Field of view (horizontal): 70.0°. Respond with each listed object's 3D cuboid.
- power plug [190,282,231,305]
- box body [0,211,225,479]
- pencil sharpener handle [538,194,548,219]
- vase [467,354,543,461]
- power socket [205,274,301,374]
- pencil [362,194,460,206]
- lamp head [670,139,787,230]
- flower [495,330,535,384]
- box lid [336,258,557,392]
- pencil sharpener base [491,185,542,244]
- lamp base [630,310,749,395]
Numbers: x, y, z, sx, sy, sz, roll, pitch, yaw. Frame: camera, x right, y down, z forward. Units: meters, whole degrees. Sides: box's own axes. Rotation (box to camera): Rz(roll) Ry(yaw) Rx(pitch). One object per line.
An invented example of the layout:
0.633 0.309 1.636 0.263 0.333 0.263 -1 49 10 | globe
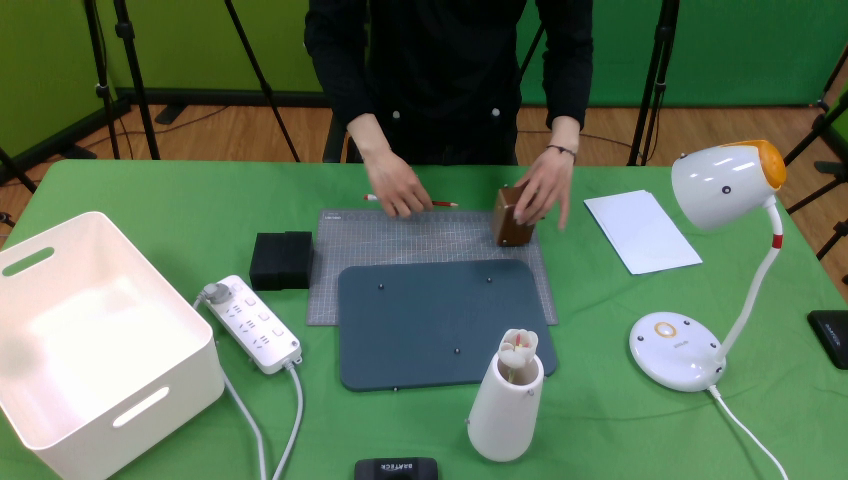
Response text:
-0.368 0.097 1.039 0.072 0.053 0.035 -27 55 -20 | power plug
-0.504 0.154 0.916 0.362 0.161 0.254 36 54 27 | box body
0.231 -0.062 1.181 0.031 0.068 0.036 -3 59 -11 | pencil sharpener handle
0.116 0.234 0.861 0.098 0.201 0.097 1 47 -1 | vase
-0.296 0.140 1.035 0.072 0.033 0.225 -32 57 -29 | power socket
-0.026 -0.077 1.179 0.194 0.012 0.012 6 46 10 | pencil
0.415 -0.079 0.812 0.113 0.123 0.112 13 70 -37 | lamp head
0.110 0.187 0.791 0.044 0.363 0.038 -32 65 -10 | flower
0.030 0.140 1.073 0.372 0.015 0.261 -3 47 -7 | box lid
0.180 -0.048 1.178 0.077 0.107 0.061 -3 46 -11 | pencil sharpener base
0.447 0.142 0.984 0.161 0.181 0.178 -24 55 -24 | lamp base
